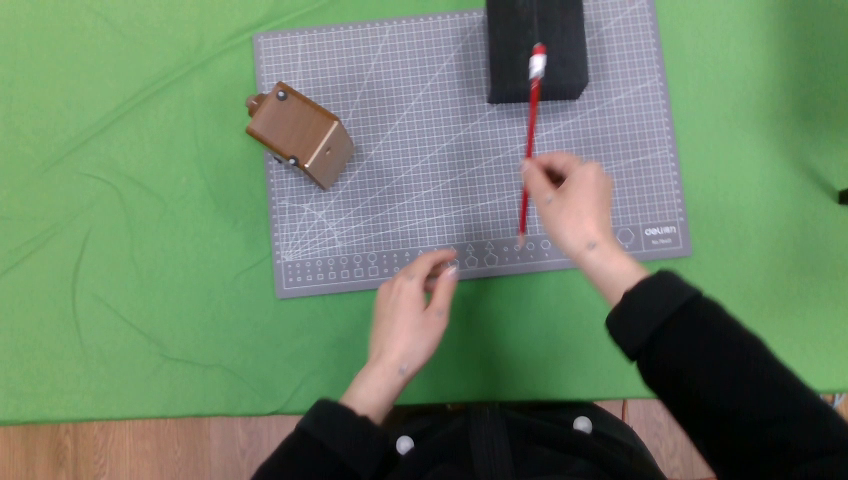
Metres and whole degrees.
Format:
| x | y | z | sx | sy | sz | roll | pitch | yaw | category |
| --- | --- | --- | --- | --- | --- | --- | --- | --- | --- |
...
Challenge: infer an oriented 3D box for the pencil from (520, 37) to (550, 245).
| x | y | z | sx | sy | sz | roll | pitch | yaw | category |
| --- | --- | --- | --- | --- | --- | --- | --- | --- | --- |
| 0.103 | -0.092 | 0.569 | 0.012 | 0.012 | 0.194 | 6 | 94 | 2 | pencil |

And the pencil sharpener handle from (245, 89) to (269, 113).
| x | y | z | sx | sy | sz | roll | pitch | yaw | category |
| --- | --- | --- | --- | --- | --- | --- | --- | --- | --- |
| -0.166 | -0.139 | 0.606 | 0.030 | 0.068 | 0.036 | 34 | 94 | 5 | pencil sharpener handle |

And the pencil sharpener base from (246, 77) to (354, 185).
| x | y | z | sx | sy | sz | roll | pitch | yaw | category |
| --- | --- | --- | --- | --- | --- | --- | --- | --- | --- |
| -0.124 | -0.108 | 0.615 | 0.076 | 0.107 | 0.061 | 34 | 86 | 5 | pencil sharpener base |
